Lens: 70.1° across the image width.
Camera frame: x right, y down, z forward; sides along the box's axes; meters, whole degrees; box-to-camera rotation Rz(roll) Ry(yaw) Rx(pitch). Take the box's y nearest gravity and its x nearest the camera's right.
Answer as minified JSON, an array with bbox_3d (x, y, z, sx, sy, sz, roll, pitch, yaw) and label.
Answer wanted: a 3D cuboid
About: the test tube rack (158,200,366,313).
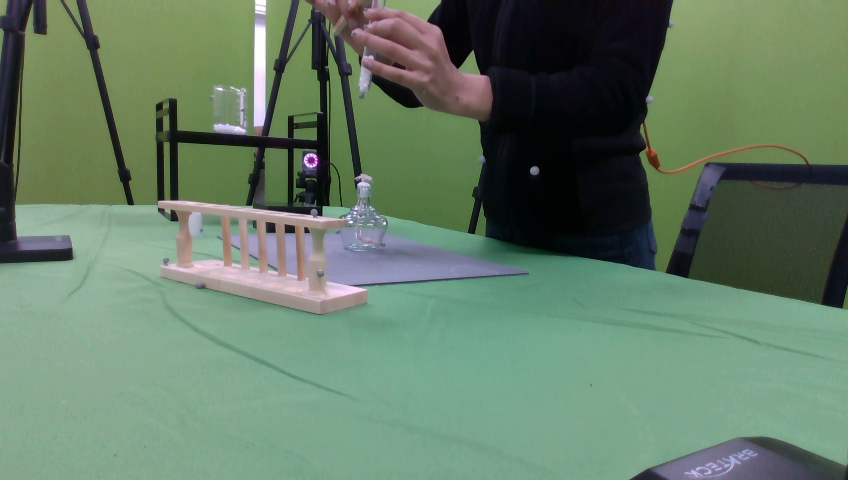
[{"bbox_3d":[-0.173,0.008,0.624,0.241,0.085,0.067,7,9,34],"label":"test tube rack"}]

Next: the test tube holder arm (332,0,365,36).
[{"bbox_3d":[-0.090,-0.313,0.803,0.013,0.015,0.177,10,-10,-27],"label":"test tube holder arm"}]

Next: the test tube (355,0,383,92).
[{"bbox_3d":[-0.065,-0.252,0.739,0.017,0.150,0.017,9,-7,1],"label":"test tube"}]

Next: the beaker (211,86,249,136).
[{"bbox_3d":[-0.413,-0.274,1.297,0.074,0.100,0.083,-5,11,-44],"label":"beaker"}]

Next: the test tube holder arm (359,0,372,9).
[{"bbox_3d":[-0.062,-0.316,0.768,0.010,0.015,0.087,11,-10,-37],"label":"test tube holder arm"}]

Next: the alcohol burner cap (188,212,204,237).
[{"bbox_3d":[-0.390,-0.029,1.025,0.034,0.048,0.034,2,8,0],"label":"alcohol burner cap"}]

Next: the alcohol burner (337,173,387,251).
[{"bbox_3d":[-0.095,-0.043,0.926,0.078,0.119,0.078,3,6,0],"label":"alcohol burner"}]
